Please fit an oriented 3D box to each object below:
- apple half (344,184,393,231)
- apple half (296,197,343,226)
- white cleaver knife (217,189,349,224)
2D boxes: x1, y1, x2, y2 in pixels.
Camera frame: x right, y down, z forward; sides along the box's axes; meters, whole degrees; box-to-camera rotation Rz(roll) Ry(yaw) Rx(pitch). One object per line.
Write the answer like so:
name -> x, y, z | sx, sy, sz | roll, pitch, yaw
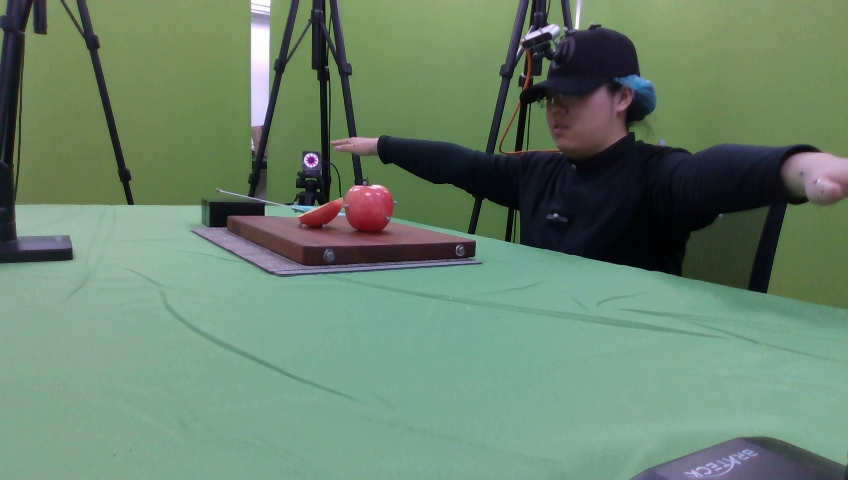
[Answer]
apple half -> -0.079, -0.049, 0.947 | 0.053, 0.074, 0.081 | 15, 10, 41
apple half -> -0.163, -0.041, 0.979 | 0.081, 0.033, 0.081 | -21, 7, 3
white cleaver knife -> -0.275, -0.066, 1.233 | 0.288, 0.021, 0.065 | 11, 6, -29
